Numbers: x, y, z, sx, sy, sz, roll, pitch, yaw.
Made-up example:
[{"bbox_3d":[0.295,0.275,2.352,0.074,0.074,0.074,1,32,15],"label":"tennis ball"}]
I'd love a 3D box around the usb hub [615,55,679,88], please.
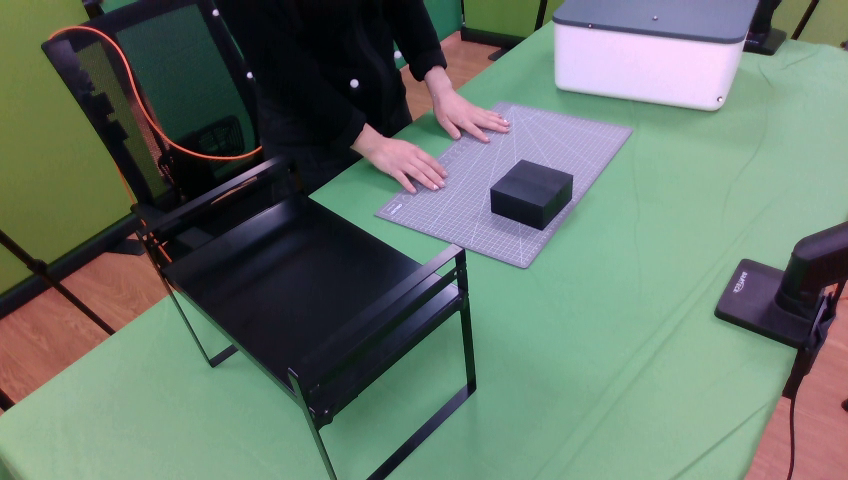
[{"bbox_3d":[0.482,-0.366,1.309,0.124,0.025,0.049,25,48,24],"label":"usb hub"}]

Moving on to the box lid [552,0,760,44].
[{"bbox_3d":[0.471,-0.473,1.234,0.369,0.015,0.263,16,45,25],"label":"box lid"}]

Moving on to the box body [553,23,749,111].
[{"bbox_3d":[0.480,-0.417,1.282,0.362,0.161,0.254,16,46,25],"label":"box body"}]
